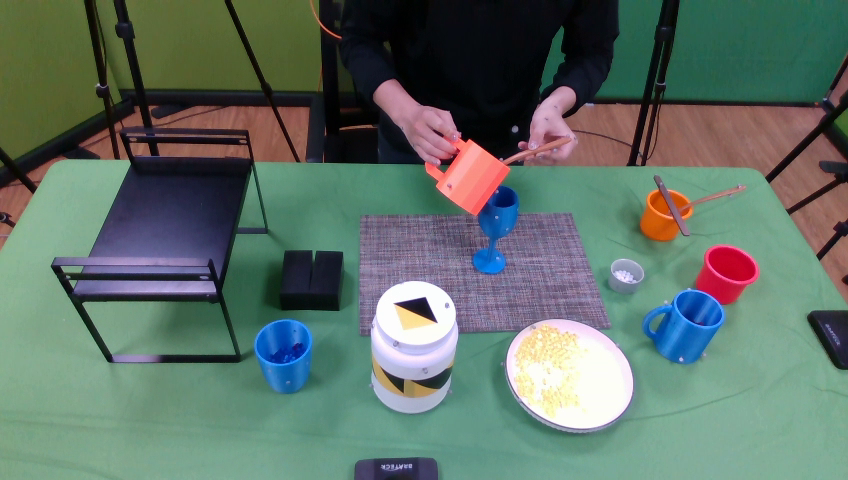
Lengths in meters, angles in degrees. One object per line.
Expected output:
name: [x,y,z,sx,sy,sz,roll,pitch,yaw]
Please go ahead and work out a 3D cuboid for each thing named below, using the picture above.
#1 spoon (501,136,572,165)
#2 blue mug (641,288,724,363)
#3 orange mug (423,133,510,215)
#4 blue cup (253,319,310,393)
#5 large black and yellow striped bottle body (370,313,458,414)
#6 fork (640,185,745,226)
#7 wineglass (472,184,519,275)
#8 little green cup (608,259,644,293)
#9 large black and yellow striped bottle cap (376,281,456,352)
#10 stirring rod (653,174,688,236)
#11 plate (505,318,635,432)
spoon: [0.146,-0.130,0.985,0.193,0.022,0.041,-22,29,17]
blue mug: [0.432,0.144,1.033,0.116,0.106,0.082,8,46,5]
orange mug: [0.065,-0.115,0.997,0.126,0.101,0.083,40,11,3]
blue cup: [-0.217,0.187,0.943,0.093,0.101,0.092,4,45,-3]
large black and yellow striped bottle body: [-0.017,0.165,0.924,0.131,0.185,0.130,2,46,-2]
fork: [0.534,-0.069,1.215,0.207,0.019,0.028,-26,27,33]
wineglass: [0.129,-0.018,1.112,0.074,0.173,0.073,2,46,-2]
little green cup: [0.379,0.070,1.147,0.061,0.039,0.061,3,45,-3]
large black and yellow striped bottle cap: [-0.011,0.107,0.863,0.115,0.019,0.114,2,47,-2]
stirring rod: [0.491,-0.072,1.211,0.014,0.006,0.175,0,47,-6]
plate: [0.235,0.221,0.991,0.209,0.038,0.208,2,45,-2]
